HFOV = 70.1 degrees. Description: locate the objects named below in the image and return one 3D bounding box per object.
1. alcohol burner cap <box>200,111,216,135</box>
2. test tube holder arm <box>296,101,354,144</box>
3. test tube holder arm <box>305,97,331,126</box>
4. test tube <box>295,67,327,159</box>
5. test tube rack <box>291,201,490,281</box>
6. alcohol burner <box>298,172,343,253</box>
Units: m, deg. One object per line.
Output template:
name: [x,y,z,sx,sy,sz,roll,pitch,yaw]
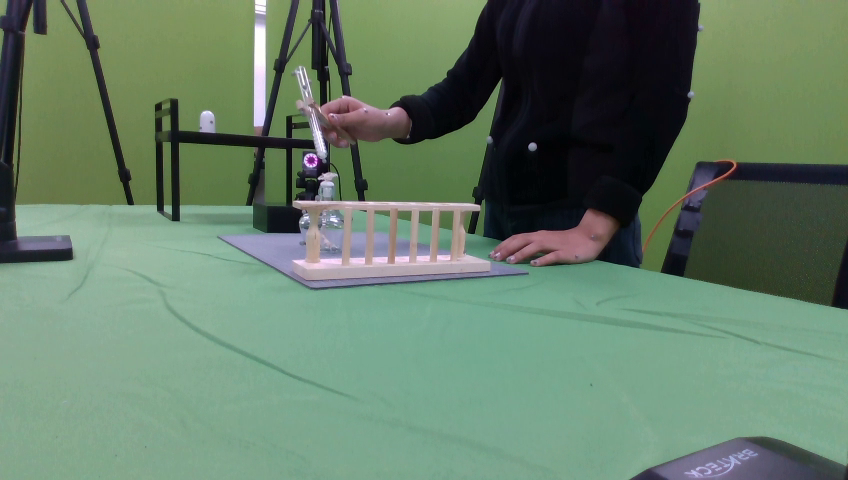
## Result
alcohol burner cap: [-0.448,-0.243,1.255,0.034,0.048,0.034,2,7,0]
test tube holder arm: [-0.154,-0.185,0.967,0.013,0.015,0.179,-15,-13,15]
test tube holder arm: [-0.161,-0.194,0.923,0.010,0.015,0.088,-14,-12,8]
test tube: [-0.168,-0.190,0.900,0.017,0.150,0.017,-15,-13,-3]
test tube rack: [-0.035,-0.002,0.745,0.243,0.085,0.066,-1,8,-28]
alcohol burner: [-0.146,-0.040,0.894,0.078,0.119,0.078,5,7,0]
